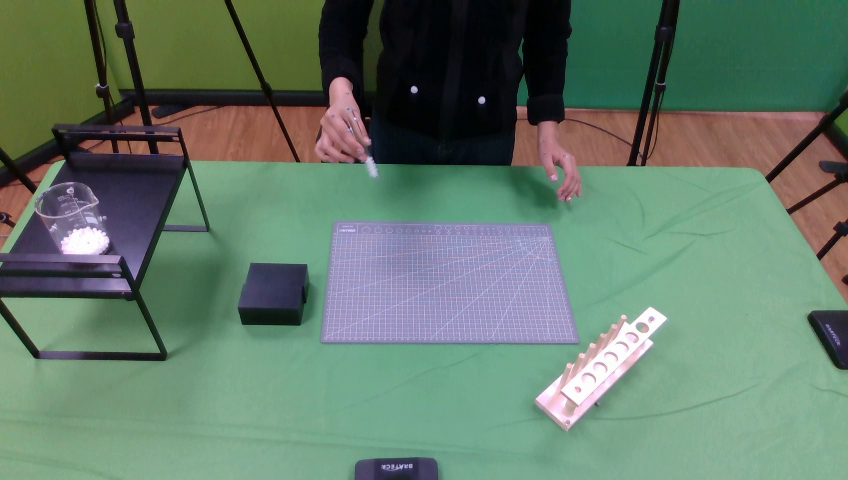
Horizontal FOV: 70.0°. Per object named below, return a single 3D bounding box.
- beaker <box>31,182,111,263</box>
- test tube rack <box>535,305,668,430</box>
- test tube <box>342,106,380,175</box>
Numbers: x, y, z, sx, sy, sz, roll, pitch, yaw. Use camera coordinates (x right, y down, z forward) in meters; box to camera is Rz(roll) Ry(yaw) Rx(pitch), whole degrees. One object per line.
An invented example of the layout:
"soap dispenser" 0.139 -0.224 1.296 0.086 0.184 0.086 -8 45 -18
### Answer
"beaker" -0.502 -0.022 0.877 0.084 0.101 0.073 -2 47 -7
"test tube rack" 0.290 0.193 0.984 0.242 0.085 0.066 -32 56 -30
"test tube" -0.106 -0.167 1.038 0.017 0.151 0.017 -11 47 12
